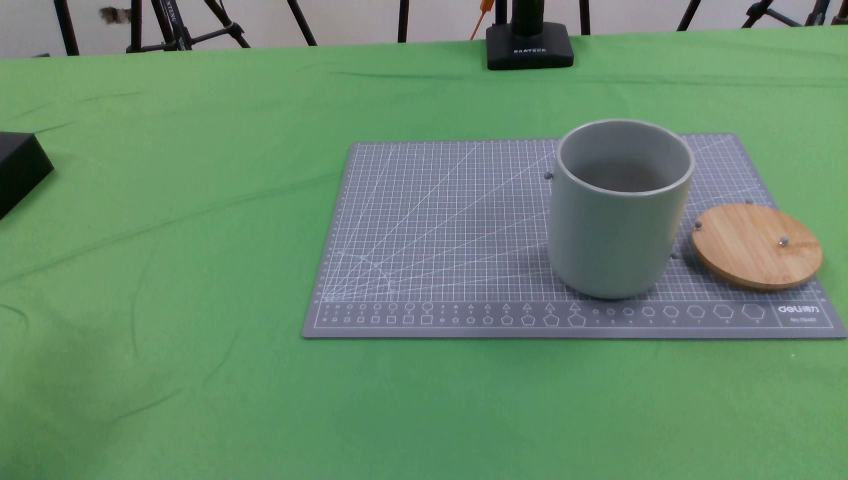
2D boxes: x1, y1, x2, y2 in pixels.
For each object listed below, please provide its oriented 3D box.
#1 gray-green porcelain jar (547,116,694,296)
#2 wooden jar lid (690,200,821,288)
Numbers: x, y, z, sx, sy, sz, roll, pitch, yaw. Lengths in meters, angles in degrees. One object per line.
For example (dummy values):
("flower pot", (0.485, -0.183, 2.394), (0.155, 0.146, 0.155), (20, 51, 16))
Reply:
("gray-green porcelain jar", (0.160, -0.024, 0.515), (0.106, 0.128, 0.105), (-3, 43, 3))
("wooden jar lid", (0.297, 0.005, 0.551), (0.108, 0.021, 0.107), (-3, 42, 3))
